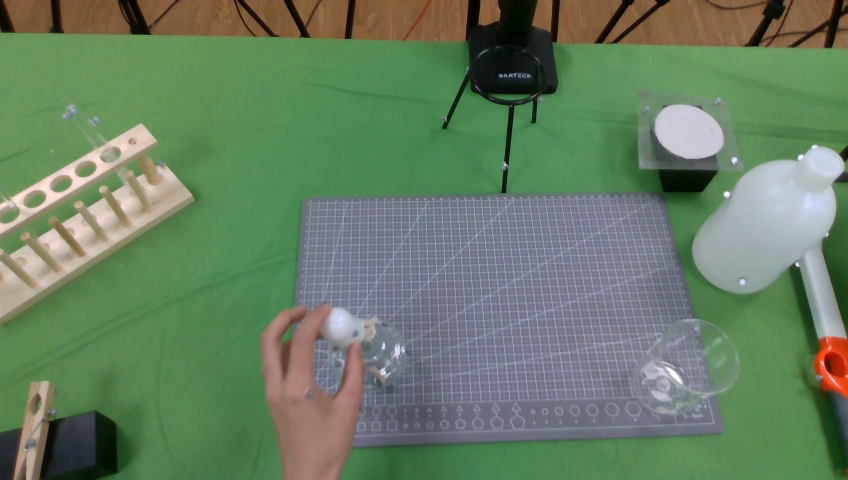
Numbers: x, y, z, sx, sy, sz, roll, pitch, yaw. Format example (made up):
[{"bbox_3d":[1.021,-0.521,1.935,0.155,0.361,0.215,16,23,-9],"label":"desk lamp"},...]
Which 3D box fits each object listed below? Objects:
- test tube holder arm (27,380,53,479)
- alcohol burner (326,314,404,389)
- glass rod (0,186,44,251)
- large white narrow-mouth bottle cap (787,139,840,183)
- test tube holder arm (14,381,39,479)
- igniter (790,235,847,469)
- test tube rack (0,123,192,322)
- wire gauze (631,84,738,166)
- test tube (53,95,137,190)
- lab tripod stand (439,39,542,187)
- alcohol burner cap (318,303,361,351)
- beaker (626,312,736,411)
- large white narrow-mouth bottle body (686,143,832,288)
[{"bbox_3d":[-0.344,0.212,0.529,0.013,0.015,0.177,-9,66,1],"label":"test tube holder arm"},{"bbox_3d":[-0.058,0.103,0.596,0.078,0.120,0.077,2,60,-3],"label":"alcohol burner"},{"bbox_3d":[-0.424,-0.047,0.606,0.008,0.201,0.008,3,52,-4],"label":"glass rod"},{"bbox_3d":[0.364,-0.074,0.568,0.038,0.024,0.037,1,61,-1],"label":"large white narrow-mouth bottle cap"},{"bbox_3d":[-0.355,0.172,0.547,0.010,0.015,0.087,-8,66,2],"label":"test tube holder arm"},{"bbox_3d":[0.444,0.112,0.664,0.057,0.025,0.274,8,61,-9],"label":"igniter"},{"bbox_3d":[-0.391,-0.022,0.669,0.242,0.086,0.066,-38,69,-20],"label":"test tube rack"},{"bbox_3d":[0.318,-0.142,0.752,0.121,0.011,0.124,6,61,1],"label":"wire gauze"},{"bbox_3d":[-0.352,-0.101,0.657,0.017,0.151,0.017,-1,60,3],"label":"test tube"},{"bbox_3d":[0.089,-0.160,0.738,0.148,0.132,0.147,2,62,-3],"label":"lab tripod stand"},{"bbox_3d":[-0.072,0.071,0.507,0.034,0.048,0.033,-1,64,2],"label":"alcohol burner cap"},{"bbox_3d":[0.247,0.125,0.604,0.084,0.101,0.073,4,61,1],"label":"beaker"},{"bbox_3d":[0.362,-0.031,0.643,0.102,0.196,0.101,1,61,-1],"label":"large white narrow-mouth bottle body"}]
